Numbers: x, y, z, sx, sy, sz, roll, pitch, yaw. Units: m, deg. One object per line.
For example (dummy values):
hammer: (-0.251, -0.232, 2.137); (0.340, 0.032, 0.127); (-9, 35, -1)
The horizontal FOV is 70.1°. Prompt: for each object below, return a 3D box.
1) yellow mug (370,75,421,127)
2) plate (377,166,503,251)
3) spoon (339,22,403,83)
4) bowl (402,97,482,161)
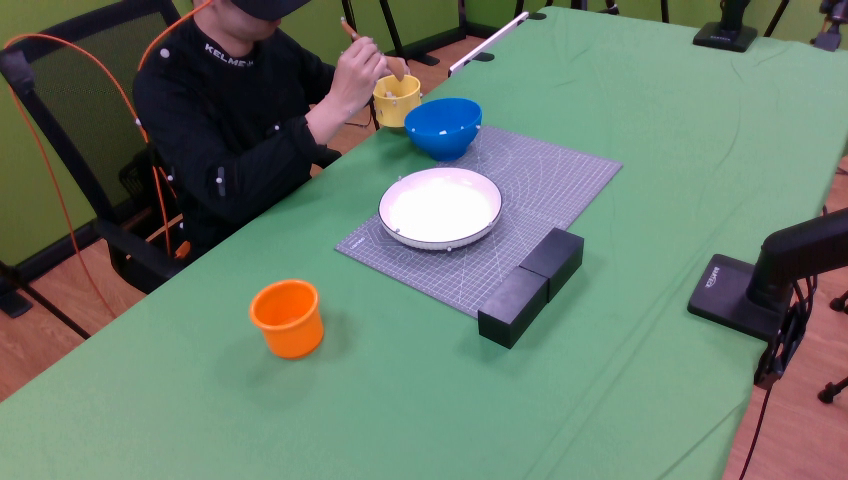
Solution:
yellow mug: (-0.056, -0.293, 1.238); (0.100, 0.064, 0.130); (-8, 41, 0)
plate: (0.027, -0.050, 1.007); (0.209, 0.038, 0.208); (-4, 41, 4)
spoon: (-0.094, -0.343, 1.113); (0.021, 0.195, 0.041); (-8, 72, 34)
bowl: (0.040, -0.203, 1.154); (0.151, 0.077, 0.150); (-7, 38, 6)
